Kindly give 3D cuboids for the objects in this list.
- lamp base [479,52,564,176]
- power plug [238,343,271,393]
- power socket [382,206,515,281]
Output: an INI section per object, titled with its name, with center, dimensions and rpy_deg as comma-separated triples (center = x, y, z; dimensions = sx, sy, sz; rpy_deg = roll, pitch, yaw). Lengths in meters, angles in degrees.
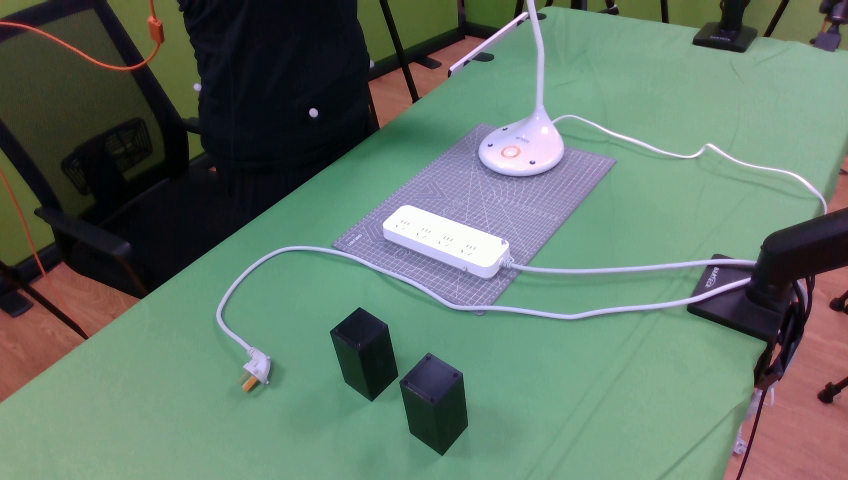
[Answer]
[lamp base]
center = 0.181, -0.235, 1.094
dimensions = 0.159, 0.181, 0.179
rpy_deg = 18, 44, 27
[power plug]
center = -0.230, 0.172, 0.801
dimensions = 0.072, 0.035, 0.053
rpy_deg = 8, 51, 50
[power socket]
center = 0.032, 0.002, 0.950
dimensions = 0.225, 0.033, 0.072
rpy_deg = 21, 49, 29
